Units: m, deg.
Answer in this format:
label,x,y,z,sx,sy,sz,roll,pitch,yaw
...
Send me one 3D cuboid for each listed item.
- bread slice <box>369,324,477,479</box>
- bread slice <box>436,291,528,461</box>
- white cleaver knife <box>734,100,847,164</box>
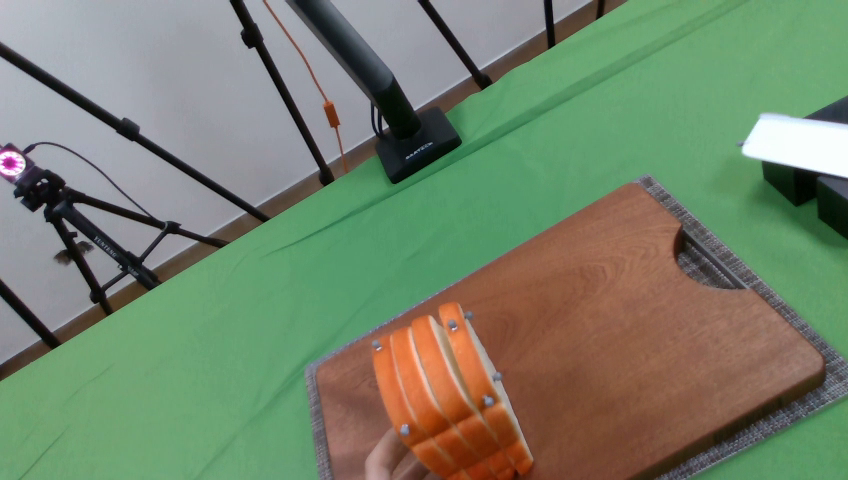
label,x,y,z,sx,sy,sz,roll,pitch,yaw
bread slice,-0.002,0.125,0.485,0.018,0.136,0.106,-30,39,7
bread slice,0.045,0.102,0.478,0.019,0.133,0.103,-25,43,2
white cleaver knife,0.388,-0.069,0.470,0.283,0.022,0.066,30,75,43
